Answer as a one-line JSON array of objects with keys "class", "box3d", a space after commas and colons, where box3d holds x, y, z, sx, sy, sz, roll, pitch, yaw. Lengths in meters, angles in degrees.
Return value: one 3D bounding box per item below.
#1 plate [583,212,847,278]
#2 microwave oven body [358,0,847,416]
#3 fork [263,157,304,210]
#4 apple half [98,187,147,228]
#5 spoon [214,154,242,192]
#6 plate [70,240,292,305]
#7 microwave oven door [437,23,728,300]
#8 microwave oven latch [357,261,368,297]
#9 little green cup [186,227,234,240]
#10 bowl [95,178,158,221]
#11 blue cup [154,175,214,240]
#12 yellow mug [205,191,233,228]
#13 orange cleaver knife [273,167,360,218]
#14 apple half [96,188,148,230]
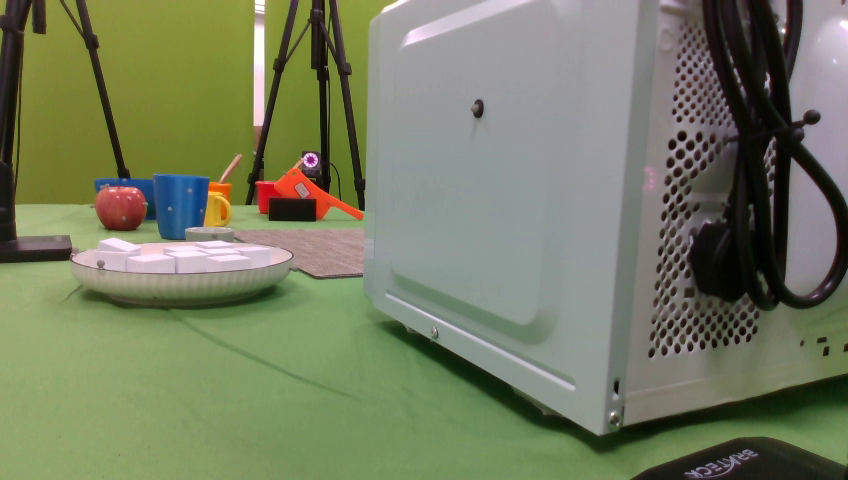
[{"class": "plate", "box3d": [0.239, 0.001, 0.510, 0.209, 0.038, 0.209, 2, 6, 0]}, {"class": "microwave oven body", "box3d": [0.211, -0.047, 0.474, 0.444, 0.260, 0.324, -1, 8, -28]}, {"class": "fork", "box3d": [-0.345, -0.143, 1.505, 0.028, 0.019, 0.207, -4, 46, 29]}, {"class": "apple half", "box3d": [-0.534, -0.059, 1.071, 0.082, 0.081, 0.032, -1, 11, -25]}, {"class": "spoon", "box3d": [-0.439, -0.124, 1.318, 0.041, 0.193, 0.022, 5, -36, 16]}, {"class": "plate", "box3d": [-0.242, 0.031, 0.618, 0.208, 0.039, 0.207, 2, 8, 0]}, {"class": "microwave oven door", "box3d": [0.181, -0.072, 0.621, 0.358, 0.243, 0.039, -2, 8, -29]}, {"class": "microwave oven latch", "box3d": [-0.019, 0.033, 0.530, 0.079, 0.029, 0.030, -1, 7, -27]}, {"class": "little green cup", "box3d": [-0.285, 0.005, 0.805, 0.061, 0.038, 0.061, 2, 8, 0]}, {"class": "bowl", "box3d": [-0.576, -0.081, 1.217, 0.151, 0.077, 0.151, 3, 8, 0]}, {"class": "blue cup", "box3d": [-0.390, -0.053, 0.978, 0.093, 0.100, 0.092, 3, 6, 0]}, {"class": "yellow mug", "box3d": [-0.415, -0.057, 1.132, 0.130, 0.064, 0.100, 6, 8, 16]}, {"class": "orange cleaver knife", "box3d": [-0.238, -0.091, 1.381, 0.212, 0.077, 0.012, 31, 0, -19]}, {"class": "apple half", "box3d": [-0.517, -0.052, 1.036, 0.081, 0.074, 0.053, 3, 10, -26]}]
